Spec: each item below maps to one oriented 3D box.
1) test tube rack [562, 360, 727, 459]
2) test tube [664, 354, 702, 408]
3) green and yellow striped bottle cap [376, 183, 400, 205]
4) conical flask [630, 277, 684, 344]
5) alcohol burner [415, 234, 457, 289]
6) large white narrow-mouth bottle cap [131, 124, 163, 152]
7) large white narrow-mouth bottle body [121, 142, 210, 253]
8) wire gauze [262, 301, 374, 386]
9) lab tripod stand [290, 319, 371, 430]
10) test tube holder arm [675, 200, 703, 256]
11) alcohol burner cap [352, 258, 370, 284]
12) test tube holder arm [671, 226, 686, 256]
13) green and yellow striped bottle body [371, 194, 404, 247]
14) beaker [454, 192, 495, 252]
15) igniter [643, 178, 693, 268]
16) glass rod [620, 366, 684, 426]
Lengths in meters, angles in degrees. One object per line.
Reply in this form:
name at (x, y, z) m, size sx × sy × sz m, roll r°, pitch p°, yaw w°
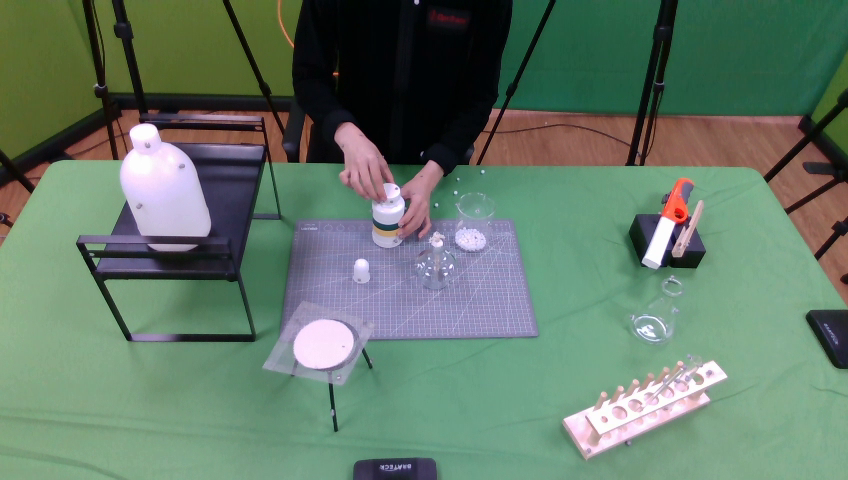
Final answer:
test tube rack at (0.341, 0.247, 0.940) m, size 0.243 × 0.085 × 0.066 m, roll -16°, pitch 49°, yaw -18°
test tube at (0.385, 0.215, 0.906) m, size 0.017 × 0.151 × 0.017 m, roll -1°, pitch 49°, yaw 1°
green and yellow striped bottle cap at (-0.067, -0.086, 1.123) m, size 0.045 × 0.020 × 0.045 m, roll 3°, pitch 44°, yaw -3°
conical flask at (0.408, 0.117, 1.045) m, size 0.075 × 0.122 × 0.075 m, roll 2°, pitch 46°, yaw -2°
alcohol burner at (0.022, 0.033, 1.099) m, size 0.078 × 0.120 × 0.077 m, roll 1°, pitch 47°, yaw -1°
large white narrow-mouth bottle cap at (-0.371, -0.138, 0.812) m, size 0.038 × 0.024 × 0.037 m, roll 3°, pitch 46°, yaw -3°
large white narrow-mouth bottle body at (-0.378, -0.077, 0.875) m, size 0.102 × 0.195 × 0.101 m, roll 3°, pitch 46°, yaw -3°
wire gauze at (-0.150, 0.148, 0.873) m, size 0.121 × 0.011 × 0.124 m, roll 14°, pitch 46°, yaw 12°
lab tripod stand at (-0.146, 0.193, 0.923) m, size 0.148 × 0.132 × 0.147 m, roll 1°, pitch 47°, yaw -1°
test tube holder arm at (0.523, -0.025, 1.190) m, size 0.013 × 0.015 × 0.178 m, roll 1°, pitch 36°, yaw 41°
alcohol burner cap at (-0.117, 0.055, 1.118) m, size 0.034 × 0.048 × 0.033 m, roll 2°, pitch 46°, yaw -1°
test tube holder arm at (0.494, 0.001, 1.167) m, size 0.010 × 0.015 × 0.087 m, roll 1°, pitch 36°, yaw 42°
green and yellow striped bottle body at (-0.071, -0.047, 1.165) m, size 0.063 × 0.120 × 0.063 m, roll 2°, pitch 46°, yaw -2°
beaker at (0.097, -0.034, 1.180) m, size 0.074 × 0.101 × 0.084 m, roll 23°, pitch 48°, yaw 17°
igniter at (0.488, -0.042, 1.205) m, size 0.057 × 0.025 × 0.276 m, roll 30°, pitch 51°, yaw 11°
glass rod at (0.322, 0.227, 0.866) m, size 0.008 × 0.200 × 0.008 m, roll 5°, pitch 51°, yaw -7°
